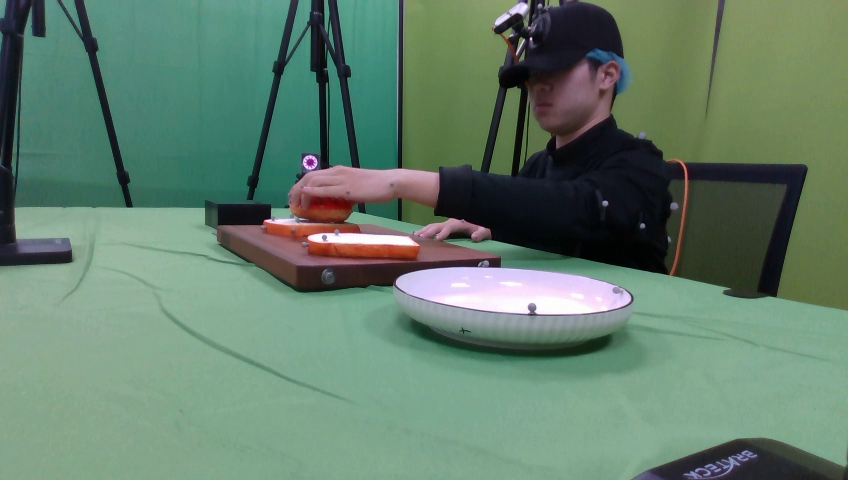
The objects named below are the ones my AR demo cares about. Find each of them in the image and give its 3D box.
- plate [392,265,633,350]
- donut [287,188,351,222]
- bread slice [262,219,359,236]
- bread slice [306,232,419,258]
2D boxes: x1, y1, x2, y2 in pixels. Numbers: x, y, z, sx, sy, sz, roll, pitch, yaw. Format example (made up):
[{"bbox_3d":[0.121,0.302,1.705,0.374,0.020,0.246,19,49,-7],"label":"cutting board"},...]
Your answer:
[{"bbox_3d":[0.074,0.057,0.533,0.209,0.038,0.209,3,7,0],"label":"plate"},{"bbox_3d":[-0.163,-0.053,0.937,0.099,0.048,0.099,8,10,-1],"label":"donut"},{"bbox_3d":[-0.179,-0.021,0.931,0.132,0.019,0.104,-1,7,-35],"label":"bread slice"},{"bbox_3d":[-0.077,0.005,0.746,0.135,0.018,0.106,2,7,-12],"label":"bread slice"}]
